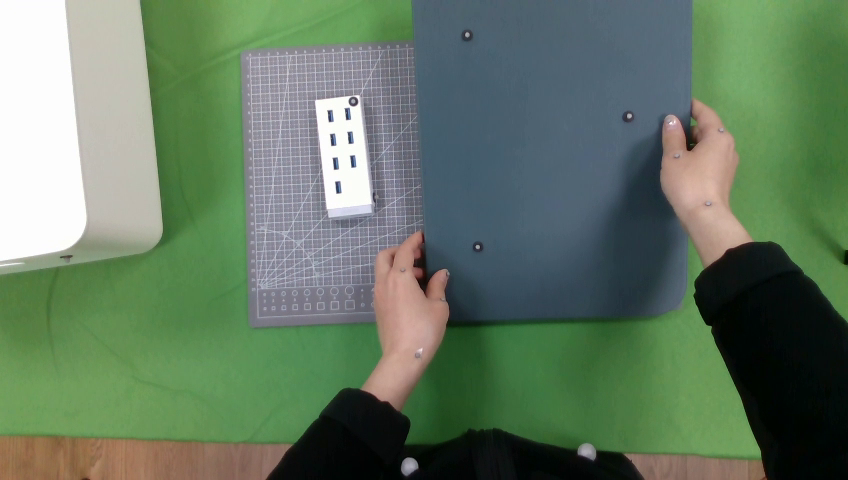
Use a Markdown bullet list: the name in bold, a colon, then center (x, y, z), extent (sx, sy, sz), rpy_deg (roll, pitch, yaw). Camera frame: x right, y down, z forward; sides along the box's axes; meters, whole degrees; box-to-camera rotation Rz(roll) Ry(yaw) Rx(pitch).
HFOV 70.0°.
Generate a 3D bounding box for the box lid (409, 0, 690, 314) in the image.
- **box lid**: center (0.122, -0.105, 0.592), extent (0.263, 0.015, 0.372), rpy_deg (-3, 100, 4)

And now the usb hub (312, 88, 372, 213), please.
- **usb hub**: center (-0.084, -0.093, 0.633), extent (0.049, 0.025, 0.125), rpy_deg (-7, 87, 2)

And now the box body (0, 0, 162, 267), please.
- **box body**: center (-0.420, -0.155, 0.586), extent (0.254, 0.160, 0.363), rpy_deg (-8, 87, 2)
